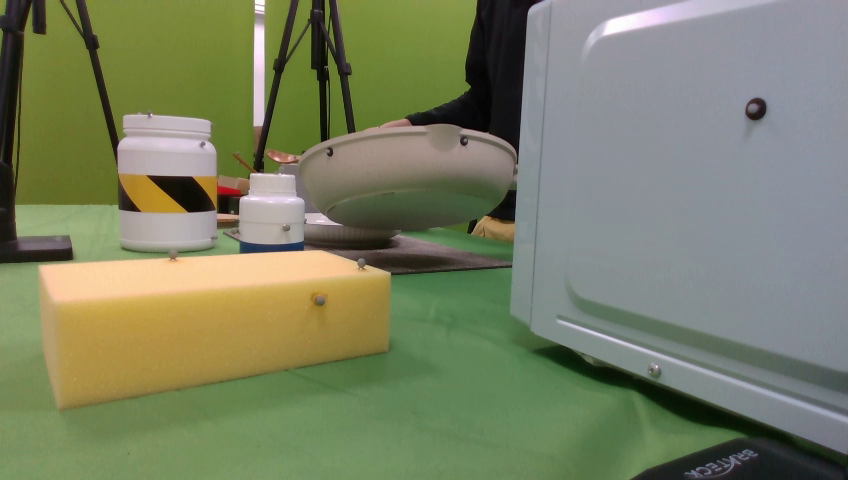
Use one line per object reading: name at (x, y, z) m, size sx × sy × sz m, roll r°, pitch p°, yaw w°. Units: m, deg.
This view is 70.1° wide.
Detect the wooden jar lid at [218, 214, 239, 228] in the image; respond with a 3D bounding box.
wooden jar lid at (-0.404, -0.037, 1.169) m, size 0.108 × 0.020 × 0.108 m, roll 3°, pitch 7°, yaw 0°

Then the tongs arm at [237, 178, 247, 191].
tongs arm at (-0.242, -0.095, 1.374) m, size 0.387 × 0.026 × 0.050 m, roll 9°, pitch 0°, yaw -37°

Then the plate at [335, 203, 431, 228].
plate at (-0.089, -0.053, 1.309) m, size 0.208 × 0.039 × 0.207 m, roll 2°, pitch 8°, yaw 0°

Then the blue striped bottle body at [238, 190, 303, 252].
blue striped bottle body at (-0.153, -0.007, 0.606) m, size 0.063 × 0.120 × 0.063 m, roll 2°, pitch 8°, yaw 0°

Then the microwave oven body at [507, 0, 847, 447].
microwave oven body at (0.331, -0.042, 0.425) m, size 0.444 × 0.260 × 0.324 m, roll -2°, pitch 8°, yaw -31°

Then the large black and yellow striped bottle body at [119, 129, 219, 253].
large black and yellow striped bottle body at (-0.367, -0.080, 0.876) m, size 0.131 × 0.184 × 0.130 m, roll 2°, pitch 7°, yaw 0°

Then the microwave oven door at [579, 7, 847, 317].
microwave oven door at (0.294, -0.067, 0.570) m, size 0.358 × 0.243 × 0.039 m, roll -3°, pitch 9°, yaw -31°

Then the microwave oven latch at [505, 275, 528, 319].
microwave oven latch at (0.100, 0.042, 0.471) m, size 0.079 × 0.029 × 0.030 m, roll -1°, pitch 7°, yaw -29°

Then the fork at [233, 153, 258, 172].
fork at (-0.396, -0.143, 1.486) m, size 0.028 × 0.018 × 0.208 m, roll 21°, pitch -25°, yaw 45°

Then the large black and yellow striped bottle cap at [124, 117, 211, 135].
large black and yellow striped bottle cap at (-0.366, -0.163, 0.866) m, size 0.115 × 0.019 × 0.115 m, roll 3°, pitch 7°, yaw 0°

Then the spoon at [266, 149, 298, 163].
spoon at (-0.217, -0.164, 1.218) m, size 0.194 × 0.021 × 0.041 m, roll 2°, pitch 30°, yaw -13°

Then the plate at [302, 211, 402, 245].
plate at (-0.139, -0.022, 1.021) m, size 0.209 × 0.038 × 0.209 m, roll 2°, pitch 8°, yaw 0°

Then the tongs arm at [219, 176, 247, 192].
tongs arm at (-0.286, -0.104, 1.445) m, size 0.389 × 0.027 × 0.028 m, roll 9°, pitch -4°, yaw -23°

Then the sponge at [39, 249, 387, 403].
sponge at (-0.142, 0.047, 0.420) m, size 0.208 × 0.061 × 0.117 m, roll -3°, pitch 8°, yaw -36°

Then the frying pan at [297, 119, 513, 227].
frying pan at (0.078, -0.091, 0.840) m, size 0.490 × 0.102 × 0.306 m, roll -9°, pitch -7°, yaw -18°

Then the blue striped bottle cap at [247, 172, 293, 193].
blue striped bottle cap at (-0.152, -0.057, 0.598) m, size 0.044 × 0.020 × 0.044 m, roll 3°, pitch 7°, yaw 0°

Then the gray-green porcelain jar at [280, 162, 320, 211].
gray-green porcelain jar at (-0.238, -0.092, 1.221) m, size 0.106 × 0.126 × 0.106 m, roll 2°, pitch 8°, yaw 0°
